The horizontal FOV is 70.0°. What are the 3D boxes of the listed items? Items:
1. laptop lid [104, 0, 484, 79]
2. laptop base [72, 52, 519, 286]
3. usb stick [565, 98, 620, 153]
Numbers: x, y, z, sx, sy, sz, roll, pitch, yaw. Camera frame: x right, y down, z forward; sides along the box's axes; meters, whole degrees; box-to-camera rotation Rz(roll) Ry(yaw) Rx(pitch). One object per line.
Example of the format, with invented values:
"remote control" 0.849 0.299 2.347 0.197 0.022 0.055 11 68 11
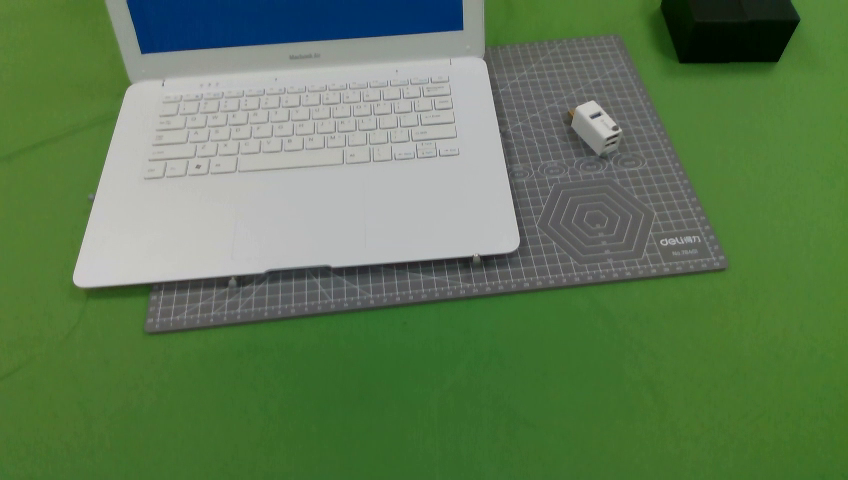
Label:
"laptop lid" -0.123 -0.269 0.545 0.357 0.243 0.013 -6 30 0
"laptop base" -0.108 -0.072 0.539 0.354 0.023 0.233 -5 59 -1
"usb stick" 0.150 -0.108 0.549 0.021 0.027 0.058 -24 55 -13
